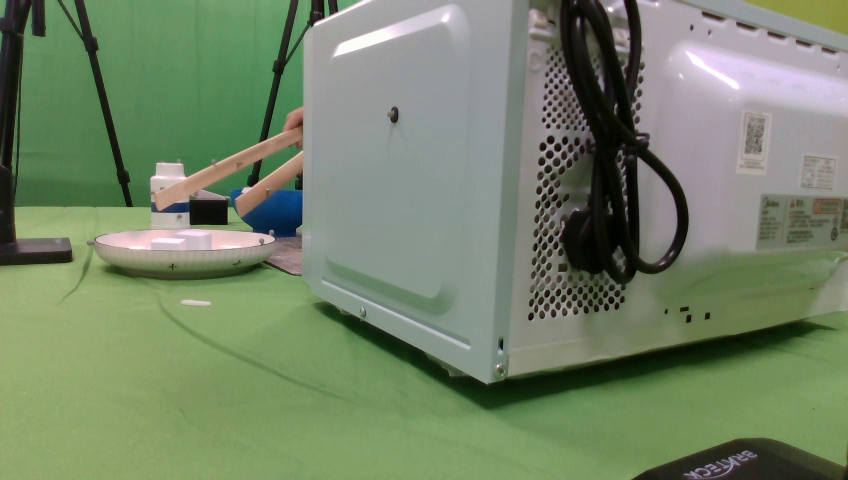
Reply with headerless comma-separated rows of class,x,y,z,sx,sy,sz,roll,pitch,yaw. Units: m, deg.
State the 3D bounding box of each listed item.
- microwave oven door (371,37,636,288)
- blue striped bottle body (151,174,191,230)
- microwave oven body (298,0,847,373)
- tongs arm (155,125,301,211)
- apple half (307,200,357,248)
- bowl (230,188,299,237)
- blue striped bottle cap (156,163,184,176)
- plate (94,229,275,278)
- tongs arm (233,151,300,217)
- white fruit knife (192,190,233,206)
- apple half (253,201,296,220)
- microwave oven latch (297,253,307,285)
microwave oven door,0.109,-0.080,0.686,0.358,0.243,0.039,-2,9,-33
blue striped bottle body,-0.439,-0.071,1.052,0.063,0.120,0.063,2,8,0
microwave oven body,0.151,-0.055,0.542,0.444,0.260,0.324,-2,7,-33
tongs arm,-0.254,-0.126,0.927,0.050,0.026,0.385,4,26,20
apple half,-0.135,-0.024,0.941,0.053,0.074,0.081,13,8,39
bowl,-0.264,-0.048,1.066,0.151,0.077,0.151,3,8,0
blue striped bottle cap,-0.438,-0.122,1.045,0.044,0.020,0.044,5,6,0
plate,-0.291,0.016,0.750,0.208,0.039,0.207,2,7,0
tongs arm,-0.192,-0.122,0.908,0.028,0.028,0.387,-3,25,14
white fruit knife,-0.413,-0.081,1.270,0.208,0.027,0.016,17,13,-41
apple half,-0.264,-0.053,1.067,0.081,0.033,0.081,2,8,0
microwave oven latch,-0.081,0.027,0.582,0.079,0.029,0.030,-1,7,-32
